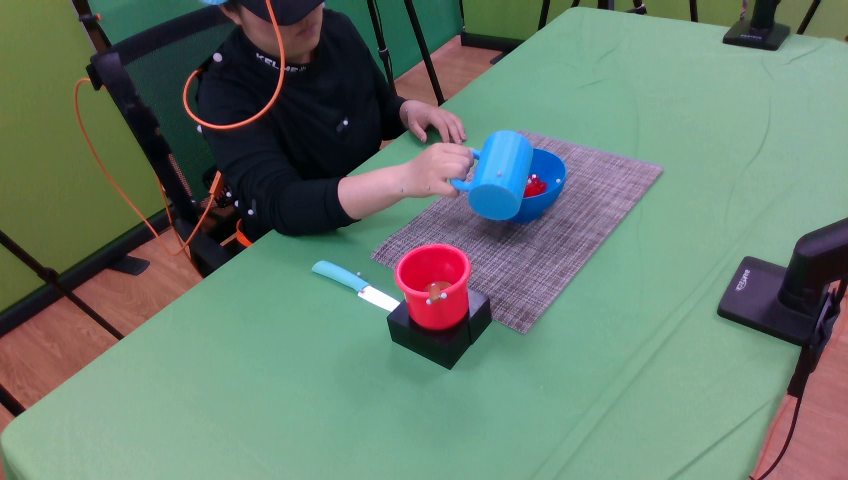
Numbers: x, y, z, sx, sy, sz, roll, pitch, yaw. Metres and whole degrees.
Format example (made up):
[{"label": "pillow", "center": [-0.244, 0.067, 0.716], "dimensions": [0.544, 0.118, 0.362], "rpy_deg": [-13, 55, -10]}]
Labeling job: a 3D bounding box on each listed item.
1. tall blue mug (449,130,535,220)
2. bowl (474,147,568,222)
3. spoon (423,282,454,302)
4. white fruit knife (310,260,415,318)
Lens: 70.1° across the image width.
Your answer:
[{"label": "tall blue mug", "center": [0.098, -0.100, 0.867], "dimensions": [0.107, 0.077, 0.108], "rpy_deg": [26, 56, -10]}, {"label": "bowl", "center": [0.161, -0.083, 1.001], "dimensions": [0.151, 0.077, 0.150], "rpy_deg": [-5, 40, 5]}, {"label": "spoon", "center": [0.015, 0.062, 0.733], "dimensions": [0.041, 0.021, 0.194], "rpy_deg": [-5, -4, 3]}, {"label": "white fruit knife", "center": [-0.094, 0.074, 0.920], "dimensions": [0.206, 0.016, 0.027], "rpy_deg": [24, 77, 30]}]
